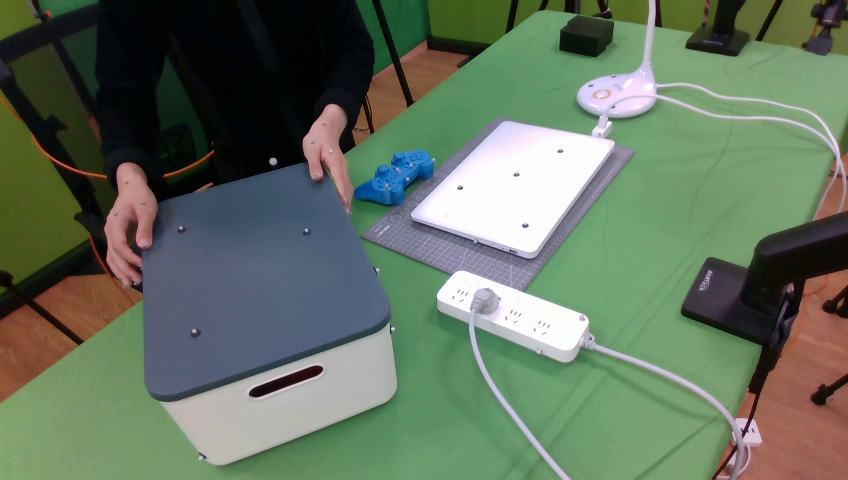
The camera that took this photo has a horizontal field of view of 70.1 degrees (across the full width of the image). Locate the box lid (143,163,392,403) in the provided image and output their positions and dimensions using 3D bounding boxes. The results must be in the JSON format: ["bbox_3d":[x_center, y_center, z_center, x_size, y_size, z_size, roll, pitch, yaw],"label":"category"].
[{"bbox_3d":[-0.212,0.025,0.753,0.264,0.015,0.368,-18,41,-13],"label":"box lid"}]

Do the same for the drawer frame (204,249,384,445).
[{"bbox_3d":[-0.174,0.129,0.789,0.202,0.083,0.212,-16,45,-7],"label":"drawer frame"}]

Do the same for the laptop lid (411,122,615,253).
[{"bbox_3d":[0.164,-0.112,1.068,0.240,0.013,0.357,19,46,31],"label":"laptop lid"}]

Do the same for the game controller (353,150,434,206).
[{"bbox_3d":[-0.051,-0.121,1.105,0.096,0.052,0.155,23,49,28],"label":"game controller"}]

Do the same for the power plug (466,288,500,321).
[{"bbox_3d":[0.072,0.093,0.813,0.035,0.053,0.073,30,54,35],"label":"power plug"}]

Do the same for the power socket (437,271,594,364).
[{"bbox_3d":[0.118,0.102,0.830,0.225,0.033,0.072,20,48,28],"label":"power socket"}]

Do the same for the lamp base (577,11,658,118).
[{"bbox_3d":[0.406,-0.363,1.222,0.180,0.181,0.159,-20,42,-18],"label":"lamp base"}]

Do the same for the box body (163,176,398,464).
[{"bbox_3d":[-0.205,0.080,0.802,0.255,0.161,0.361,-18,41,-13],"label":"box body"}]

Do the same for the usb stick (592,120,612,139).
[{"bbox_3d":[0.335,-0.203,1.148,0.021,0.027,0.059,25,52,26],"label":"usb stick"}]

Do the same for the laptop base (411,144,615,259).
[{"bbox_3d":[0.167,-0.102,1.074,0.234,0.023,0.355,17,46,30],"label":"laptop base"}]
